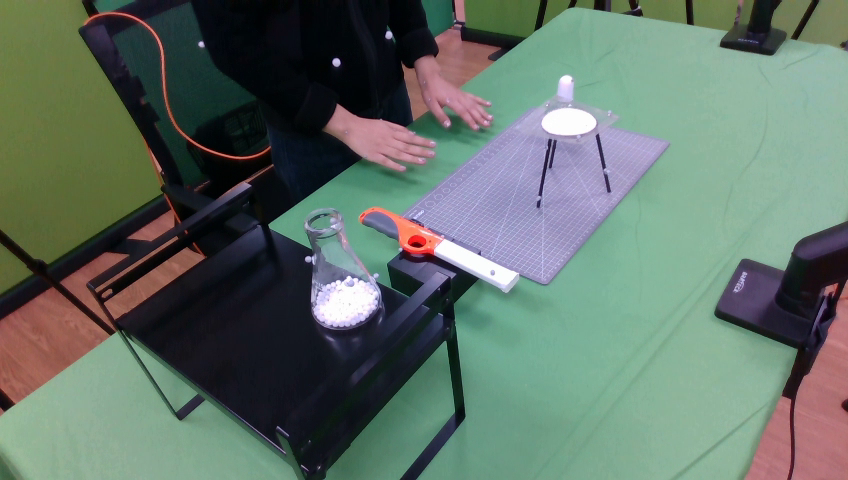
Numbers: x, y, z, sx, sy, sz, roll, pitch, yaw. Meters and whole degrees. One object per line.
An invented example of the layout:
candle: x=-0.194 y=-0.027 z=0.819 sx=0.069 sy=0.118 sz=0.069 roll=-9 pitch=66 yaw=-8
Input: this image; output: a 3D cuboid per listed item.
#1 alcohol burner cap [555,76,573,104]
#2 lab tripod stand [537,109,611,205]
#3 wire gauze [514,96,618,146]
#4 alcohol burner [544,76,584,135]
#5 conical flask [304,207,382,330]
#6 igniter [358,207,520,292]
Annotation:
alcohol burner cap: x=0.266 y=-0.284 z=1.139 sx=0.034 sy=0.048 sz=0.033 roll=-1 pitch=34 yaw=1
lab tripod stand: x=0.244 y=-0.141 z=1.014 sx=0.148 sy=0.132 sz=0.147 roll=-3 pitch=39 yaw=3
wire gauze: x=0.229 y=-0.190 z=0.969 sx=0.120 sy=0.011 sz=0.125 roll=26 pitch=50 yaw=33
alcohol burner: x=0.269 y=-0.256 z=1.161 sx=0.078 sy=0.119 sz=0.077 roll=-5 pitch=38 yaw=5
conical flask: x=-0.088 y=0.025 z=0.601 sx=0.075 sy=0.122 sz=0.075 roll=-5 pitch=40 yaw=5
igniter: x=0.014 y=0.008 z=0.886 sx=0.274 sy=0.025 sz=0.057 roll=25 pitch=52 yaw=29
